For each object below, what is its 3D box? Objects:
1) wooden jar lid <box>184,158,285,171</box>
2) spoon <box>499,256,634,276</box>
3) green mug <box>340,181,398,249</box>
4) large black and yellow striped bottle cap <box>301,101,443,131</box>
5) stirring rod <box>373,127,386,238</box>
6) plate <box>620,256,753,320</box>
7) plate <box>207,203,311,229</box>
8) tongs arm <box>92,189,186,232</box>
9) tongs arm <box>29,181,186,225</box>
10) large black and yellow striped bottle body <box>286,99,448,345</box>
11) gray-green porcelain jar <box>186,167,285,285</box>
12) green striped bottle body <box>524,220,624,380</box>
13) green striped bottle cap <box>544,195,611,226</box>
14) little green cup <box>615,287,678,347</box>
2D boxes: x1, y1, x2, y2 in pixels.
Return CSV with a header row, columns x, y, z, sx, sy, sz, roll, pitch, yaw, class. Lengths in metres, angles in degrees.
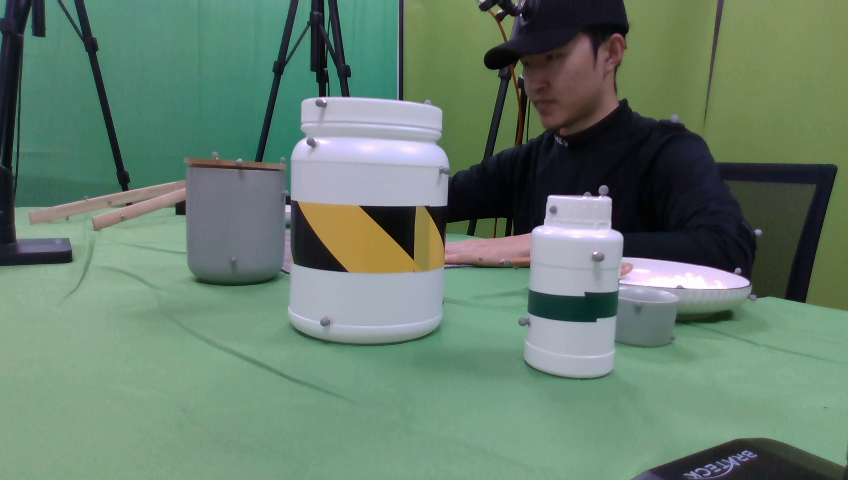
x,y,z,sx,sy,sz,roll,pitch,yaw,class
-0.210,-0.078,0.674,0.108,0.020,0.108,5,6,0,wooden jar lid
0.162,0.027,0.679,0.195,0.021,0.041,8,2,-30,spoon
-0.090,-0.044,0.997,0.093,0.105,0.125,1,7,-9,green mug
-0.042,-0.100,0.491,0.115,0.019,0.115,1,8,0,large black and yellow striped bottle cap
-0.070,-0.090,0.957,0.006,0.176,0.014,-9,10,-39,stirring rod
0.234,0.049,0.651,0.209,0.038,0.209,2,7,0,plate
-0.342,-0.050,1.259,0.208,0.039,0.207,3,7,0,plate
-0.534,-0.076,1.221,0.028,0.028,0.388,-2,15,12,tongs arm
-0.609,-0.083,1.245,0.050,0.026,0.386,5,16,23,tongs arm
-0.047,-0.018,0.501,0.131,0.184,0.130,2,7,0,large black and yellow striped bottle body
-0.212,-0.017,0.682,0.106,0.126,0.106,2,7,0,gray-green porcelain jar
0.104,0.031,0.422,0.063,0.119,0.063,2,8,0,green striped bottle body
0.105,-0.020,0.415,0.044,0.020,0.044,2,5,0,green striped bottle cap
0.180,0.064,0.506,0.061,0.038,0.061,1,8,0,little green cup
